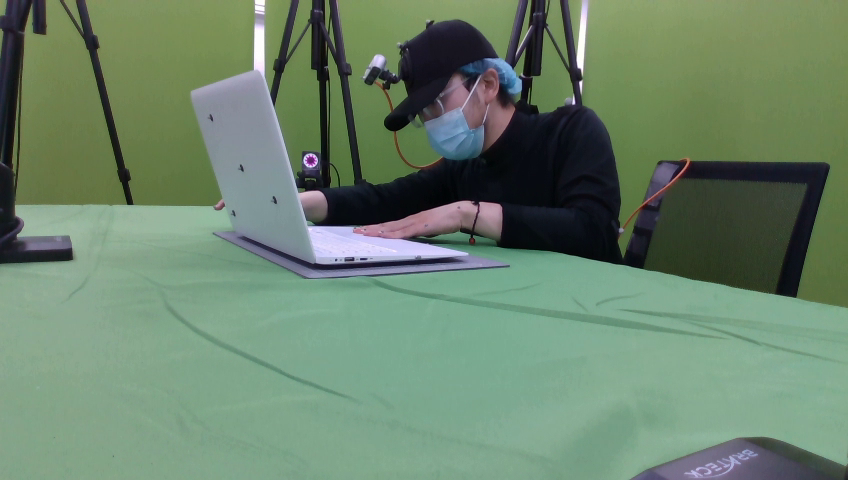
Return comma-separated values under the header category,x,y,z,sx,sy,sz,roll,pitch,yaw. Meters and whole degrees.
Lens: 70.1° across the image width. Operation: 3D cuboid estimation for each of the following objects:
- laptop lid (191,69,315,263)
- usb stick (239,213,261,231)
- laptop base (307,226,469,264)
category,x,y,z,sx,sy,sz,roll,pitch,yaw
laptop lid,-0.249,-0.102,0.837,0.013,0.242,0.355,-22,20,-29
usb stick,-0.300,-0.030,1.052,0.021,0.027,0.059,-5,17,-38
laptop base,-0.125,0.006,0.935,0.237,0.023,0.352,3,6,-34
